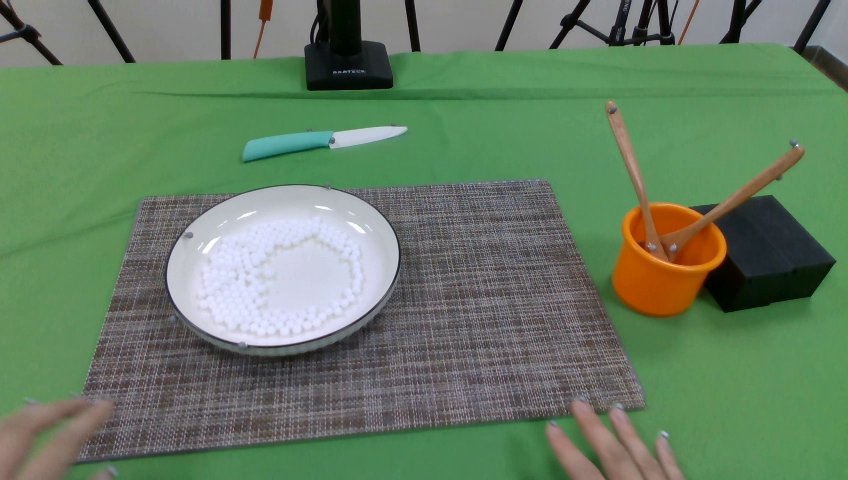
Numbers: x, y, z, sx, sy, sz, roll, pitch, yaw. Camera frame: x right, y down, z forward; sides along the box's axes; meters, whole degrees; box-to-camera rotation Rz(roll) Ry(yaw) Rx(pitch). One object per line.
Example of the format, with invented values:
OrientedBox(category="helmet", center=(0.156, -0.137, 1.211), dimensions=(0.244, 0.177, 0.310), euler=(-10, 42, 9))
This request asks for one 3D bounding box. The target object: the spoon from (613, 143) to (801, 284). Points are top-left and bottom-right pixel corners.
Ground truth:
OrientedBox(category="spoon", center=(0.259, -0.023, 0.559), dimensions=(0.041, 0.194, 0.022), euler=(53, 23, 7))

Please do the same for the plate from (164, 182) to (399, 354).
OrientedBox(category="plate", center=(-0.127, 0.023, 0.563), dimensions=(0.209, 0.038, 0.207), euler=(2, 44, -2))

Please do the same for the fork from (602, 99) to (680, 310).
OrientedBox(category="fork", center=(0.202, -0.035, 0.572), dimensions=(0.028, 0.018, 0.207), euler=(-16, 92, -5))

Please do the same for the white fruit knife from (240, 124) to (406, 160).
OrientedBox(category="white fruit knife", center=(-0.121, -0.125, 0.742), dimensions=(0.208, 0.016, 0.027), euler=(-11, 74, -18))
